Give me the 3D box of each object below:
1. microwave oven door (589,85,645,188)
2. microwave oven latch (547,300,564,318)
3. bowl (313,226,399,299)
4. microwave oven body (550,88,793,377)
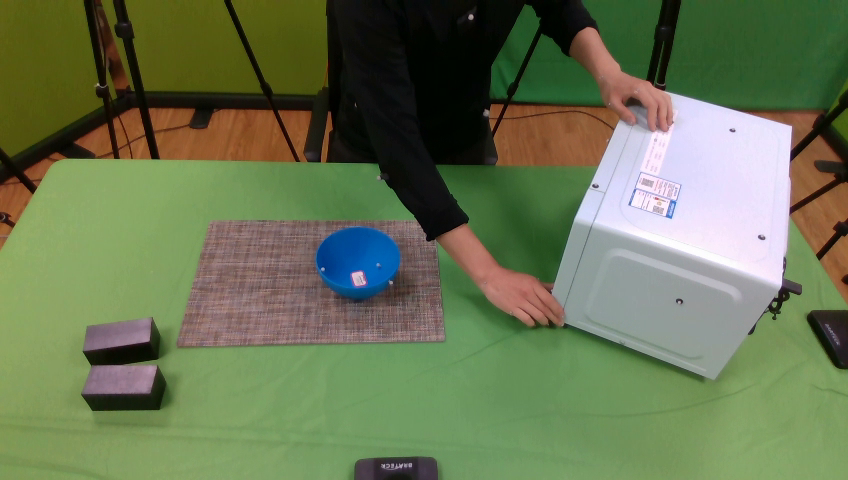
[{"bbox_3d":[0.342,-0.107,1.149,0.039,0.245,0.354,20,48,15],"label":"microwave oven door"},{"bbox_3d":[0.242,0.101,1.081,0.030,0.029,0.079,21,48,17],"label":"microwave oven latch"},{"bbox_3d":[-0.120,0.054,1.091,0.151,0.077,0.150,2,46,-2],"label":"bowl"},{"bbox_3d":[0.456,-0.028,1.088,0.325,0.261,0.440,20,47,16],"label":"microwave oven body"}]
